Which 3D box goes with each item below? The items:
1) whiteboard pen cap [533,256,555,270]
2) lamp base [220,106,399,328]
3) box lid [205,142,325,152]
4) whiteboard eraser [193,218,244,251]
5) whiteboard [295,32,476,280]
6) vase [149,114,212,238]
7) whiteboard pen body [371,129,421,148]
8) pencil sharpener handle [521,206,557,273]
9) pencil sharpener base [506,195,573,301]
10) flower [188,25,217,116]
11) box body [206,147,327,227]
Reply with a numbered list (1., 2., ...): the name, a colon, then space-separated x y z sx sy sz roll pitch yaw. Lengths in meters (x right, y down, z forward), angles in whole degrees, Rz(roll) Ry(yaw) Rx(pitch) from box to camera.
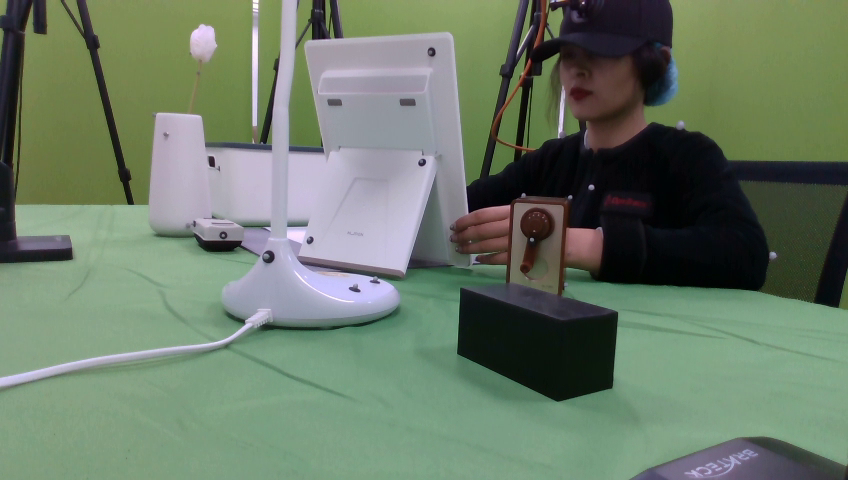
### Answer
1. whiteboard pen cap: 0.166 0.032 0.839 0.018 0.018 0.033 -1 5 -23
2. lamp base: -0.101 -0.023 0.531 0.160 0.180 0.179 4 10 10
3. box lid: -0.270 -0.196 1.310 0.373 0.015 0.262 -2 9 -30
4. whiteboard eraser: -0.307 -0.009 0.900 0.056 0.042 0.112 -3 10 -29
5. whiteboard: -0.076 -0.084 0.747 0.216 0.305 0.144 7 28 29
6. vase: -0.405 -0.106 1.005 0.098 0.200 0.098 2 6 0
7. whiteboard pen body: -0.039 -0.145 0.860 0.017 0.017 0.141 6 5 24
8. pencil sharpener handle: 0.111 0.000 0.612 0.036 0.067 0.031 13 10 14
9. pencil sharpener base: 0.127 0.007 0.662 0.061 0.107 0.077 5 8 15
10. flower: -0.395 -0.189 1.011 0.044 0.361 0.038 -1 -13 27
11. box body: -0.276 -0.122 1.320 0.366 0.160 0.253 -2 9 -30
